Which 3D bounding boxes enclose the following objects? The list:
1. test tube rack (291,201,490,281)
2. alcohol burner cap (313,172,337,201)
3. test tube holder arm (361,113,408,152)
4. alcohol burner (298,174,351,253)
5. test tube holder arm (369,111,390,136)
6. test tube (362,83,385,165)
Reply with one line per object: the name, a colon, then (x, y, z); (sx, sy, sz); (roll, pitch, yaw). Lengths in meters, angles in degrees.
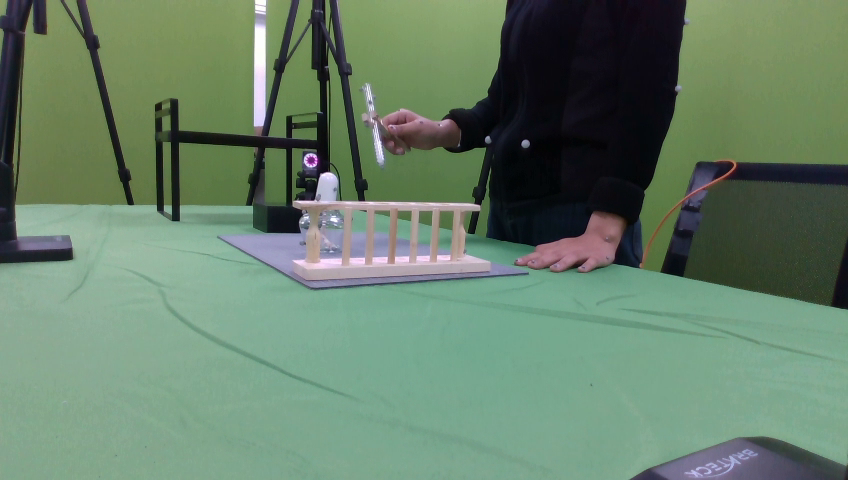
test tube rack: (-0.035, -0.002, 0.745); (0.243, 0.085, 0.066); (-1, 8, -28)
alcohol burner cap: (-0.144, -0.076, 0.888); (0.034, 0.048, 0.034); (8, 6, -1)
test tube holder arm: (-0.068, -0.191, 1.090); (0.013, 0.015, 0.179); (-10, -13, 19)
alcohol burner: (-0.146, -0.040, 0.894); (0.078, 0.119, 0.078); (5, 7, 0)
test tube holder arm: (-0.076, -0.200, 1.047); (0.010, 0.015, 0.088); (-9, -13, 12)
test tube: (-0.086, -0.197, 1.024); (0.017, 0.150, 0.017); (-11, -14, -2)
